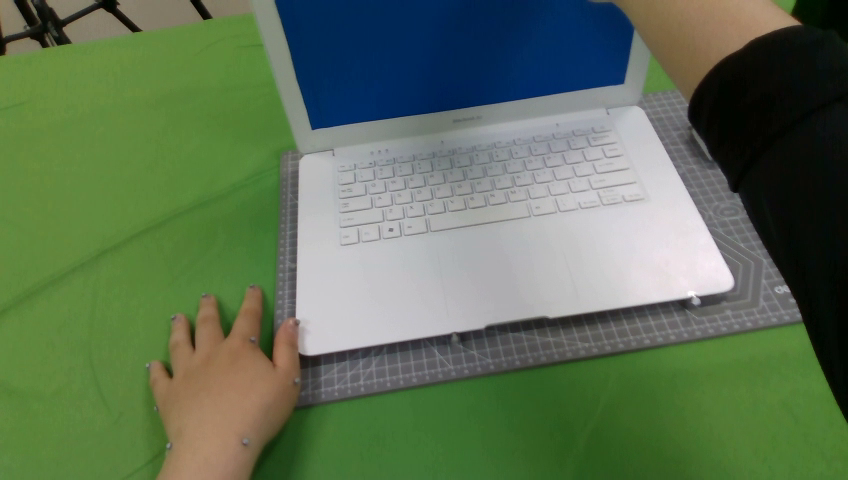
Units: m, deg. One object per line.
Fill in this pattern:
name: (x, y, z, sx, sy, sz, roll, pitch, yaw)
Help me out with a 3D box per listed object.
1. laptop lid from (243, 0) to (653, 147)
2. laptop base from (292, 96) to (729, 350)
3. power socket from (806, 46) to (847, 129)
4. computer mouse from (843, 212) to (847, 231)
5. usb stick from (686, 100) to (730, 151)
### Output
laptop lid: (0.030, -0.193, 0.534, 0.357, 0.244, 0.013, -10, 51, 1)
laptop base: (0.057, -0.027, 0.550, 0.354, 0.023, 0.233, -9, 54, -1)
power socket: (0.442, -0.112, 0.564, 0.072, 0.033, 0.224, -9, 50, 1)
computer mouse: (0.391, 0.006, 0.472, 0.063, 0.041, 0.116, -14, 46, -3)
usb stick: (0.273, -0.116, 0.589, 0.021, 0.027, 0.058, -11, 49, 1)
